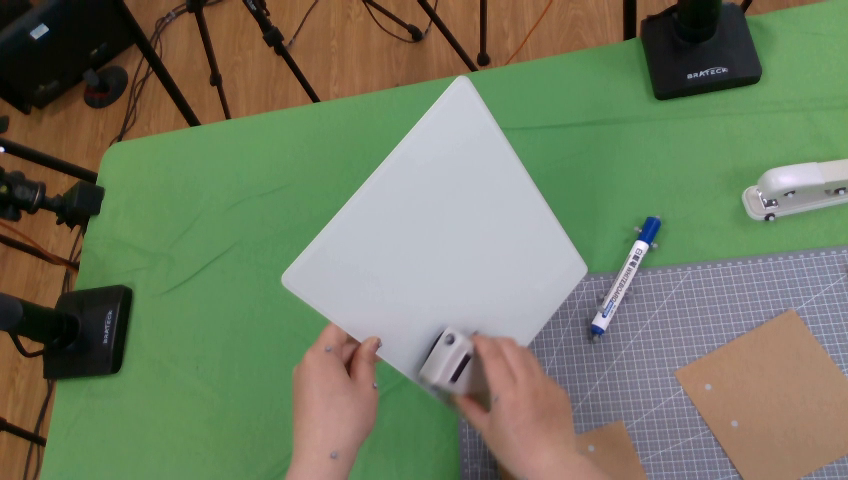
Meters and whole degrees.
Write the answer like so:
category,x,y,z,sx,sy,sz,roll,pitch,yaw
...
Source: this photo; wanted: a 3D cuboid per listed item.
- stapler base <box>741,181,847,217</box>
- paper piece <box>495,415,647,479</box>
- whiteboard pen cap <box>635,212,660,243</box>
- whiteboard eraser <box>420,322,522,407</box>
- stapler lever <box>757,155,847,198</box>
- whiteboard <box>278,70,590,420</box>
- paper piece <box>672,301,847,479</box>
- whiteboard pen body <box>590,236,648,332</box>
category,x,y,z,sx,sy,sz,roll,pitch,yaw
stapler base,0.409,-0.059,0.640,0.130,0.024,0.041,-13,69,9
paper piece,0.154,0.257,0.589,0.135,0.004,0.134,-21,65,5
whiteboard pen cap,0.246,-0.013,0.667,0.018,0.018,0.033,24,76,23
whiteboard eraser,0.046,0.122,0.590,0.041,0.114,0.055,34,89,47
stapler lever,0.404,-0.068,0.618,0.118,0.040,0.026,-13,68,10
whiteboard,0.001,0.004,0.607,0.217,0.309,0.142,-48,43,-6
paper piece,0.336,0.149,0.581,0.136,0.009,0.137,-30,66,7
whiteboard pen body,0.216,0.036,0.657,0.017,0.017,0.140,25,76,24
